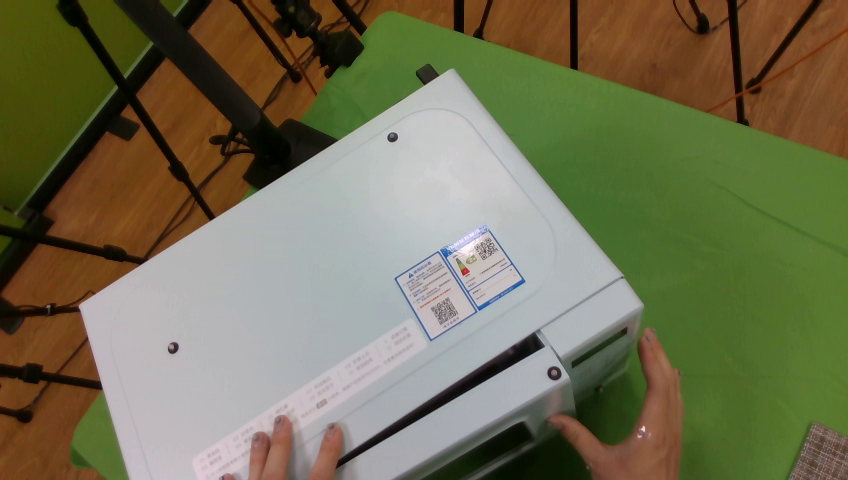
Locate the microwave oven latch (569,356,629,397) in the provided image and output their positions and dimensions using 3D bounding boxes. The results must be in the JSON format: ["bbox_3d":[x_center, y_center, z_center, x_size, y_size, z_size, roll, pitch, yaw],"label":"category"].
[{"bbox_3d":[0.185,0.141,0.663,0.079,0.030,0.030,-31,63,1],"label":"microwave oven latch"}]

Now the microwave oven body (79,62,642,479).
[{"bbox_3d":[-0.059,0.090,0.642,0.442,0.262,0.323,-33,63,0],"label":"microwave oven body"}]

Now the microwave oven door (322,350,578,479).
[{"bbox_3d":[-0.021,0.225,0.567,0.356,0.246,0.039,-30,62,1],"label":"microwave oven door"}]
